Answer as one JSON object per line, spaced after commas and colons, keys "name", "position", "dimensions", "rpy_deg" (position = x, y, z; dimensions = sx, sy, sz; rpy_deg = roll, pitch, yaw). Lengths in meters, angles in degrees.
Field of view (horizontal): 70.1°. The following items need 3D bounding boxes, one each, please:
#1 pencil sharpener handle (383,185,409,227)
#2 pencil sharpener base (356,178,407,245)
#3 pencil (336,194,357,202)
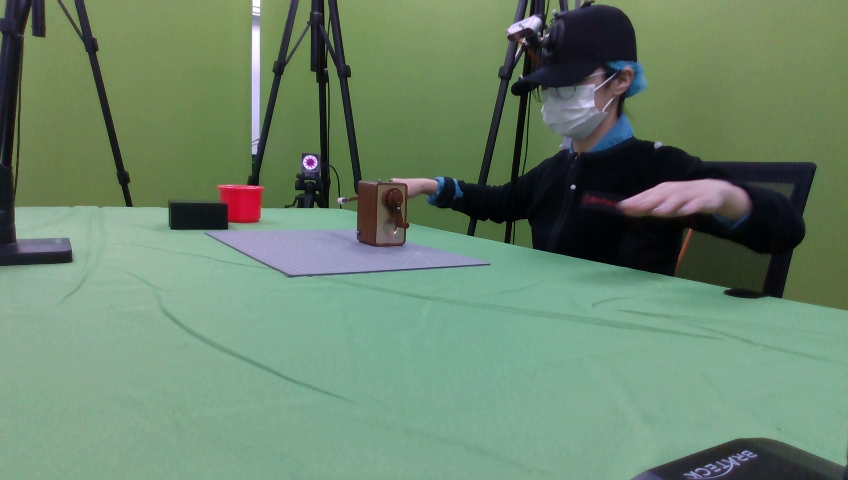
{"name": "pencil sharpener handle", "position": [-0.040, -0.055, 0.976], "dimensions": [0.036, 0.068, 0.030], "rpy_deg": [-19, 17, -29]}
{"name": "pencil sharpener base", "position": [-0.071, -0.049, 1.018], "dimensions": [0.062, 0.107, 0.076], "rpy_deg": [-2, 9, -32]}
{"name": "pencil", "position": [-0.122, -0.080, 1.103], "dimensions": [0.012, 0.012, 0.193], "rpy_deg": [-2, 0, -29]}
